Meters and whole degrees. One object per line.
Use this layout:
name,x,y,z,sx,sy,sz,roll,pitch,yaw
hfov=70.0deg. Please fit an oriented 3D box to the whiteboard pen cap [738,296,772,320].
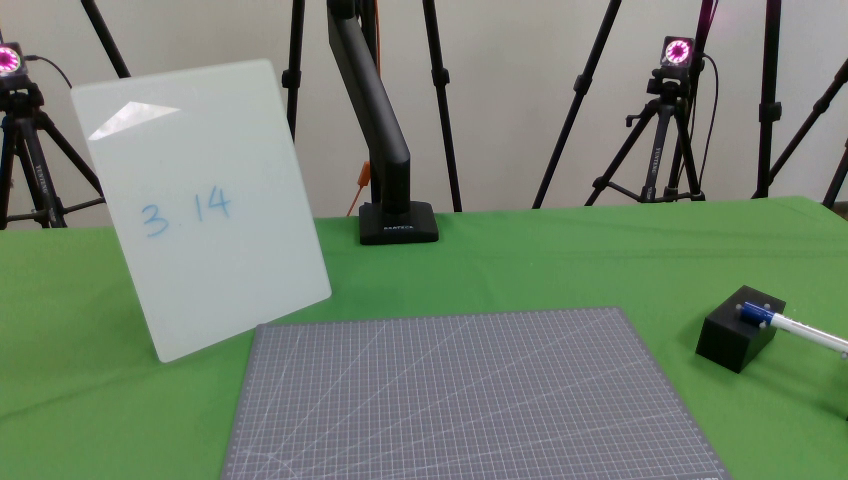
whiteboard pen cap,0.364,0.076,0.663,0.033,0.018,0.018,27,38,34

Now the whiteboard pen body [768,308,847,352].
whiteboard pen body,0.407,0.095,0.630,0.139,0.017,0.017,25,38,36

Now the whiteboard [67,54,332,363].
whiteboard,-0.272,-0.047,0.739,0.218,0.307,0.143,-21,17,-33
